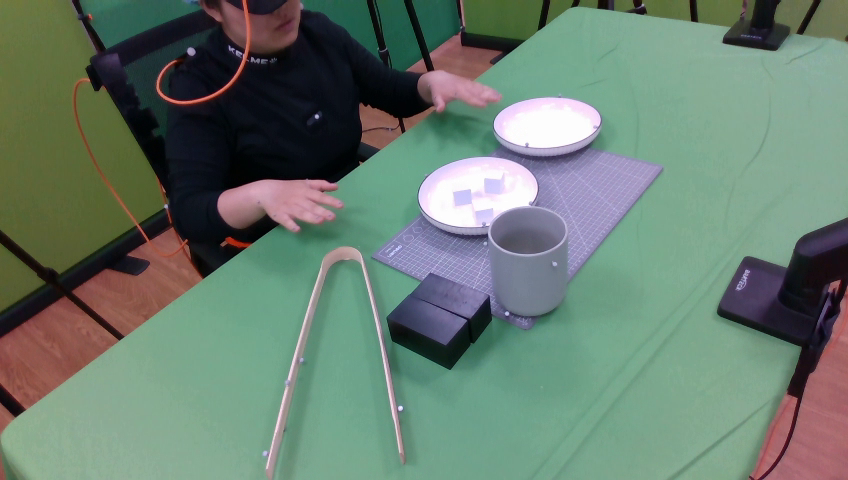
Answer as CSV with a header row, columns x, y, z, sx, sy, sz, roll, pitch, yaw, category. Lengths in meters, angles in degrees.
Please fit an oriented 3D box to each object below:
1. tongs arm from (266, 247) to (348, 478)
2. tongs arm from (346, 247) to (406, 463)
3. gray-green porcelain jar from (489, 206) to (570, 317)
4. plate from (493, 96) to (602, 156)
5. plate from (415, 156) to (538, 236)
x,y,z,sx,sy,sz,roll,pitch,yaw,category
-0.151,0.143,0.831,0.051,0.026,0.383,-5,39,5,tongs arm
-0.069,0.133,0.832,0.028,0.028,0.384,-16,40,-4,tongs arm
0.145,0.034,0.828,0.106,0.127,0.105,-5,40,5,gray-green porcelain jar
0.238,-0.218,1.179,0.209,0.038,0.208,-4,39,4,plate
0.090,-0.072,1.034,0.207,0.039,0.206,-5,40,5,plate
